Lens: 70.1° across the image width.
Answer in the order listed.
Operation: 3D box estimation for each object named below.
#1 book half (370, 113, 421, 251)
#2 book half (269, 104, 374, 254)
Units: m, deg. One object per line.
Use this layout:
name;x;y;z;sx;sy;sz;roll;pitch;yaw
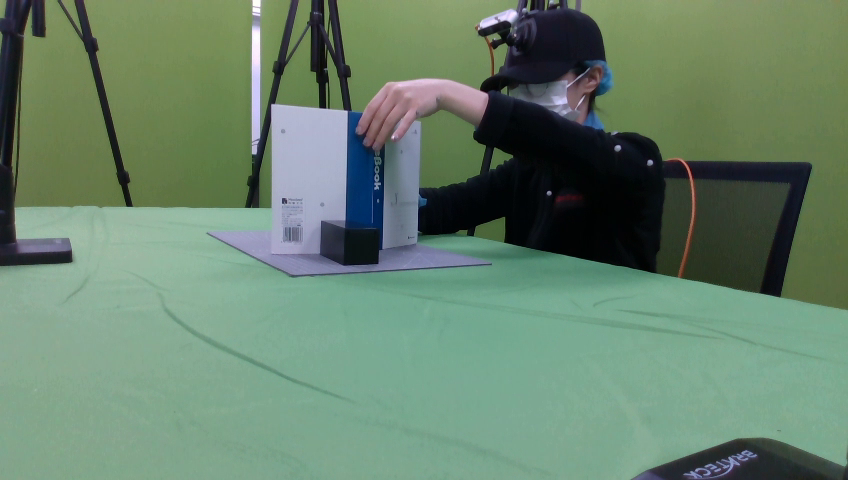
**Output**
book half;-0.047;-0.091;0.971;0.007;0.210;0.144;6;8;31
book half;-0.148;-0.085;0.877;0.149;0.210;0.016;-1;7;-22
